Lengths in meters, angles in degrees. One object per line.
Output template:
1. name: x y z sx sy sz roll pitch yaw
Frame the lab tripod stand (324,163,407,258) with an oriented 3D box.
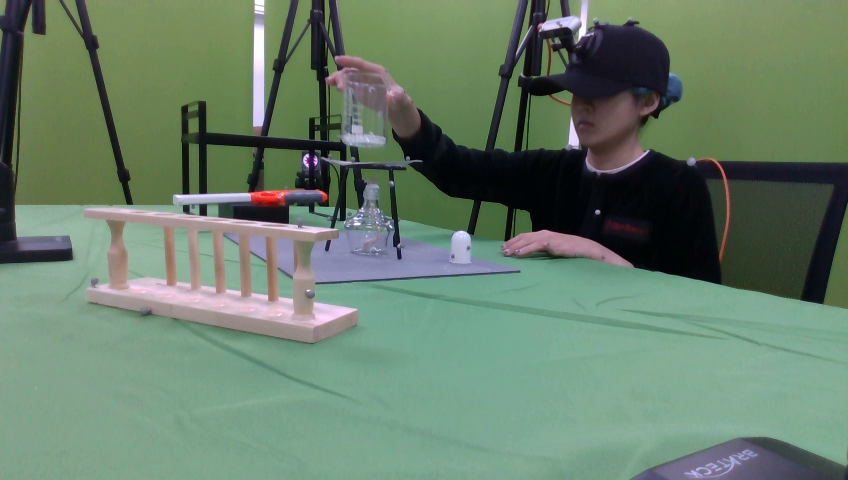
1. lab tripod stand: -0.073 -0.047 0.900 0.148 0.131 0.148 2 5 0

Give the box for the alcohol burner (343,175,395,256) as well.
1. alcohol burner: -0.079 -0.036 0.890 0.078 0.119 0.078 5 7 0

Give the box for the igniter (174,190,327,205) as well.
1. igniter: -0.317 -0.079 1.131 0.278 0.025 0.057 -4 13 -32

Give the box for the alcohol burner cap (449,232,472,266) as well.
1. alcohol burner cap: 0.052 0.012 0.843 0.034 0.048 0.034 2 7 0

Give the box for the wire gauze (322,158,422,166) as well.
1. wire gauze: -0.079 -0.114 0.893 0.122 0.011 0.124 -1 6 -25

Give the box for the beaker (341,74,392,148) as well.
1. beaker: -0.085 -0.191 0.910 0.084 0.100 0.073 0 4 -40

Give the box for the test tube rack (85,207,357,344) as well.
1. test tube rack: -0.177 0.022 0.518 0.241 0.085 0.067 6 7 23
